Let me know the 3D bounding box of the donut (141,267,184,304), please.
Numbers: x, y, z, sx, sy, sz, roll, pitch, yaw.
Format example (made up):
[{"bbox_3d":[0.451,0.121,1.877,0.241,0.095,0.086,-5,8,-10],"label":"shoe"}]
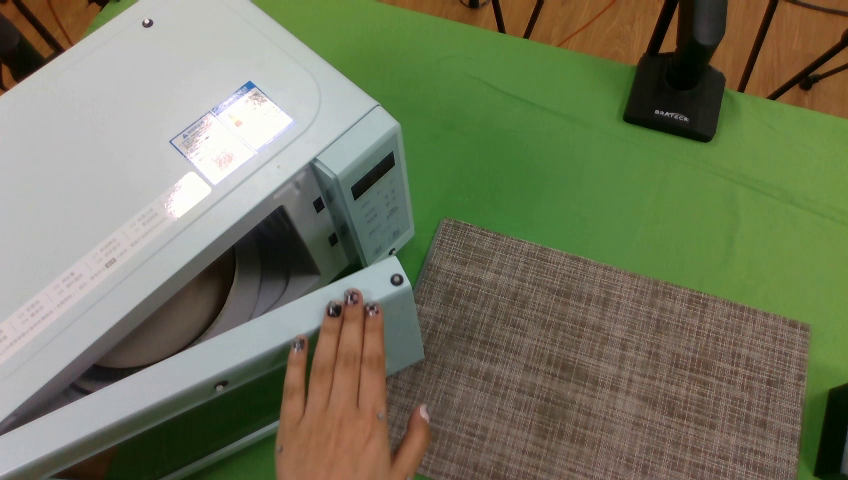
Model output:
[{"bbox_3d":[-0.314,0.027,0.674,0.099,0.048,0.098,6,55,-9],"label":"donut"}]

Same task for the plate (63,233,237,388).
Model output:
[{"bbox_3d":[-0.295,0.061,0.650,0.209,0.038,0.207,-5,59,9],"label":"plate"}]

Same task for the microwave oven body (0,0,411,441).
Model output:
[{"bbox_3d":[-0.282,-0.015,0.641,0.324,0.262,0.441,41,74,17],"label":"microwave oven body"}]

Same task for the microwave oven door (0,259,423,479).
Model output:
[{"bbox_3d":[-0.173,0.144,0.561,0.356,0.245,0.039,-25,66,-9],"label":"microwave oven door"}]

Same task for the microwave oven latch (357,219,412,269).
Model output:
[{"bbox_3d":[-0.048,-0.001,0.732,0.030,0.030,0.079,41,74,17],"label":"microwave oven latch"}]
